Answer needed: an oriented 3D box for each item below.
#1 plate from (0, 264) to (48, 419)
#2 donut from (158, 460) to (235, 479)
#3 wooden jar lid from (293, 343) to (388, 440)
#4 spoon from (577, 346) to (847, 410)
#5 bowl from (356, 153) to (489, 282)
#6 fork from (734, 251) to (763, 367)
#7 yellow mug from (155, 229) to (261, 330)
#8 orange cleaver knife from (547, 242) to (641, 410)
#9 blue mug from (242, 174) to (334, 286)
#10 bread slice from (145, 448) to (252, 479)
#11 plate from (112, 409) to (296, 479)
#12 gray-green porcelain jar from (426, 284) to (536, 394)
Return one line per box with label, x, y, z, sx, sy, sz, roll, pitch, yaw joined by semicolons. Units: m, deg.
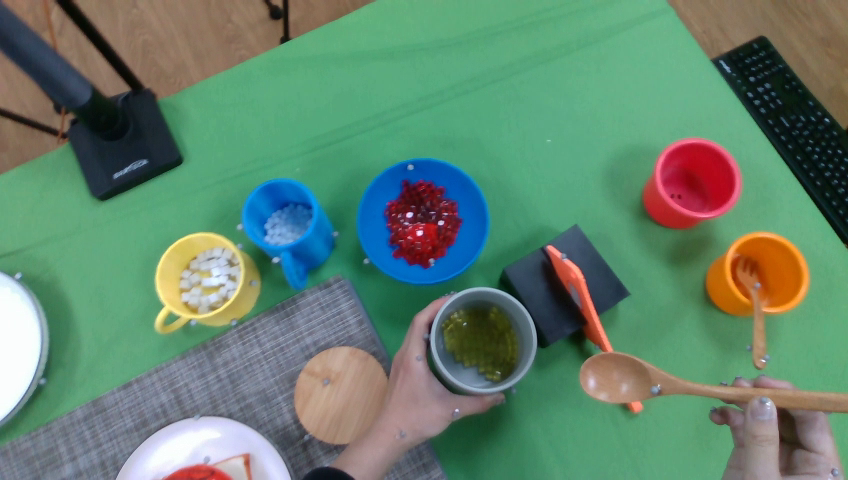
plate;-0.539;0.125;0.708;0.208;0.039;0.206;0;75;1
donut;-0.238;0.280;0.629;0.099;0.048;0.098;1;75;-2
wooden jar lid;-0.094;0.172;0.693;0.108;0.021;0.108;0;76;1
spoon;0.205;0.103;0.429;0.192;0.022;0.041;0;95;36
bowl;0.000;-0.018;0.715;0.151;0.077;0.150;0;76;1
fork;0.350;0.067;0.649;0.028;0.019;0.206;32;34;5
yellow mug;-0.260;0.054;0.707;0.099;0.064;0.130;40;81;11
orange cleaver knife;0.189;0.097;0.679;0.012;0.076;0.212;-30;106;-6
blue mug;-0.153;-0.004;0.700;0.082;0.106;0.116;-7;75;-1
bread slice;-0.249;0.295;0.658;0.132;0.019;0.104;-13;75;-6
plate;-0.236;0.290;0.655;0.209;0.038;0.208;0;75;1
gray-green porcelain jar;0.056;0.112;0.654;0.106;0.127;0.105;1;73;-3
